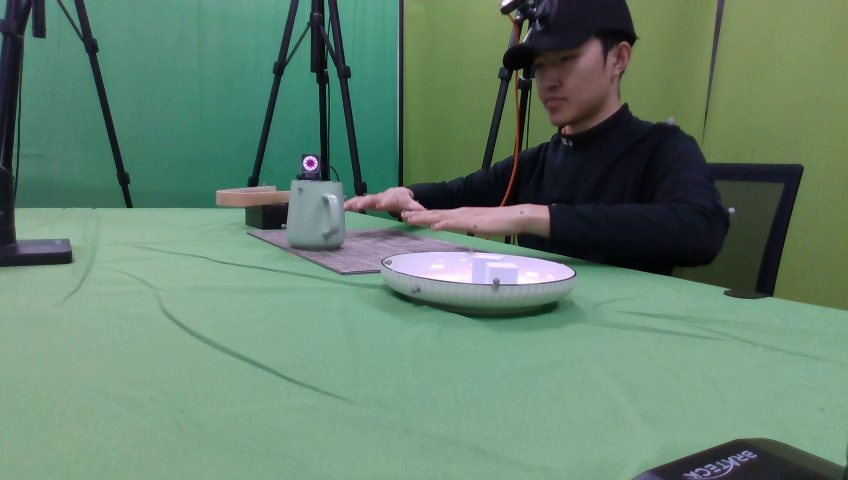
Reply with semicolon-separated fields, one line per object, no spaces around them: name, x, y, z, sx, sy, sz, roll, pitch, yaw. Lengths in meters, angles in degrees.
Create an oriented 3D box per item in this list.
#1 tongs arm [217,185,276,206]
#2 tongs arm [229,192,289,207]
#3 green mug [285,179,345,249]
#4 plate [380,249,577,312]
tongs arm;-0.361;-0.098;1.294;0.051;0.026;0.385;6;7;5
tongs arm;-0.284;-0.092;1.283;0.028;0.028;0.388;11;9;16
green mug;-0.161;-0.040;0.936;0.093;0.105;0.124;-2;8;-32
plate;0.056;0.042;0.646;0.209;0.038;0.209;2;7;0
